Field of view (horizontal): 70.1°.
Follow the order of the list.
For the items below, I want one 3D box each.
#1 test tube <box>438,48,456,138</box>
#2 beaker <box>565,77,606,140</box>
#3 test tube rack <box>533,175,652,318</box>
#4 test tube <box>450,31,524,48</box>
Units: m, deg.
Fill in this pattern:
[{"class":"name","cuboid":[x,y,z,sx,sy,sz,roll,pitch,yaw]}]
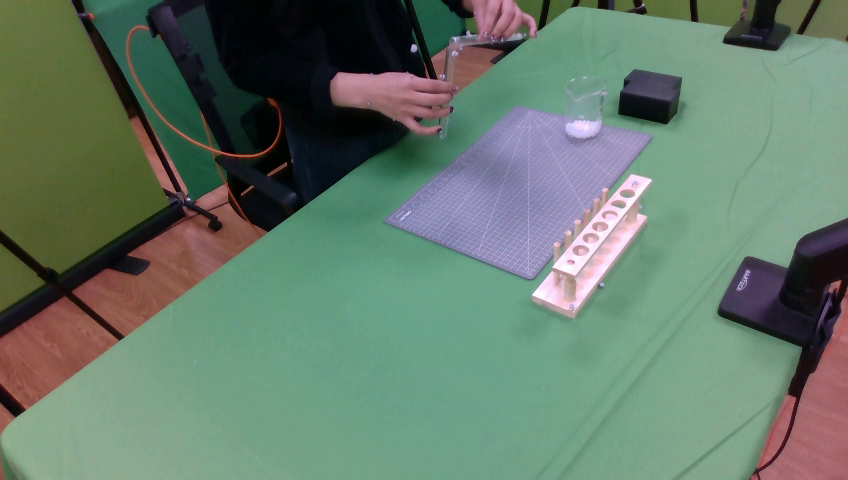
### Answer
[{"class":"test tube","cuboid":[0.038,-0.242,1.007,0.017,0.151,0.017,5,27,-2]},{"class":"beaker","cuboid":[0.304,-0.247,1.153,0.073,0.101,0.084,15,47,27]},{"class":"test tube rack","cuboid":[0.250,-0.001,0.889,0.066,0.085,0.243,22,49,33]},{"class":"test tube","cuboid":[0.107,-0.334,1.006,0.151,0.017,0.017,-16,39,-29]}]
